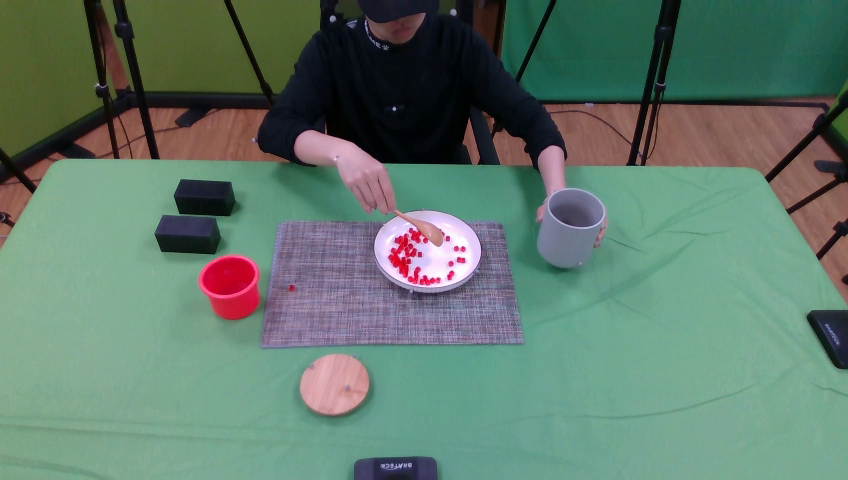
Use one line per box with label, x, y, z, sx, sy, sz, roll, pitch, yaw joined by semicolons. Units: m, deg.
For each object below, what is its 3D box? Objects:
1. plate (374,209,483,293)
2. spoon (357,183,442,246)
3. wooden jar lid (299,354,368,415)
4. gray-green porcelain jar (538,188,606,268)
plate;0.008;0.024;1.158;0.208;0.039;0.206;2;46;-2
spoon;-0.044;-0.048;1.123;0.194;0.022;0.041;31;33;-8
wooden jar lid;-0.143;0.232;0.964;0.108;0.021;0.107;2;45;-2
gray-green porcelain jar;0.272;-0.018;1.133;0.106;0.127;0.105;1;49;-1
